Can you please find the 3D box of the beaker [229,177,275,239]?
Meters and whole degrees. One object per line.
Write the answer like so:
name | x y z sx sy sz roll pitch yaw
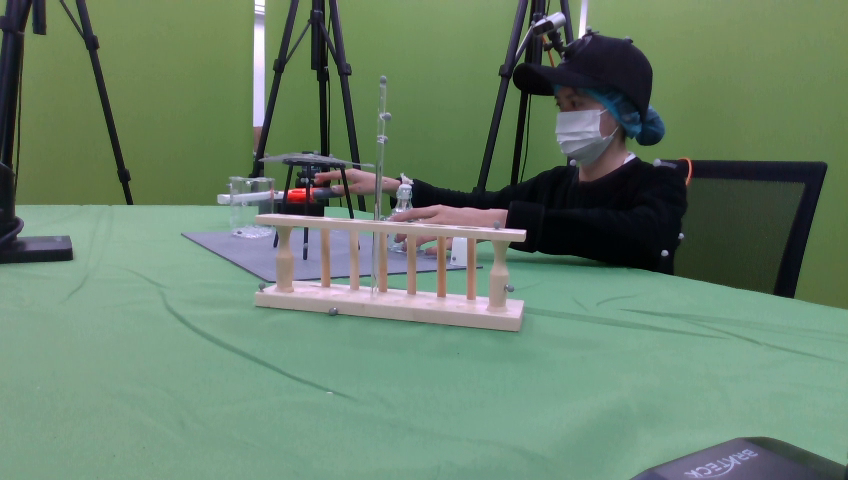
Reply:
beaker | -0.292 -0.056 1.023 0.074 0.100 0.083 -1 8 -26

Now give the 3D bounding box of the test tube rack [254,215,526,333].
test tube rack | -0.030 0.025 0.558 0.242 0.085 0.067 4 7 12

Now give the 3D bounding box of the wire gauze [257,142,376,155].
wire gauze | -0.155 -0.130 0.871 0.124 0.011 0.122 -1 7 36

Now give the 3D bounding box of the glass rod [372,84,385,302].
glass rod | -0.041 -0.041 0.548 0.008 0.199 0.008 2 2 0

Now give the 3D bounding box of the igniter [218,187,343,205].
igniter | -0.287 -0.093 1.257 0.278 0.025 0.057 -8 13 -41

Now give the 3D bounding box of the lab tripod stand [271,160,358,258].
lab tripod stand | -0.159 -0.048 0.876 0.148 0.131 0.148 3 5 0

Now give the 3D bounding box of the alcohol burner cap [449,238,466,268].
alcohol burner cap | 0.051 0.015 0.828 0.034 0.048 0.034 2 6 0

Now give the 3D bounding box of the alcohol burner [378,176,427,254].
alcohol burner | -0.033 -0.039 0.936 0.078 0.119 0.078 1 6 0
